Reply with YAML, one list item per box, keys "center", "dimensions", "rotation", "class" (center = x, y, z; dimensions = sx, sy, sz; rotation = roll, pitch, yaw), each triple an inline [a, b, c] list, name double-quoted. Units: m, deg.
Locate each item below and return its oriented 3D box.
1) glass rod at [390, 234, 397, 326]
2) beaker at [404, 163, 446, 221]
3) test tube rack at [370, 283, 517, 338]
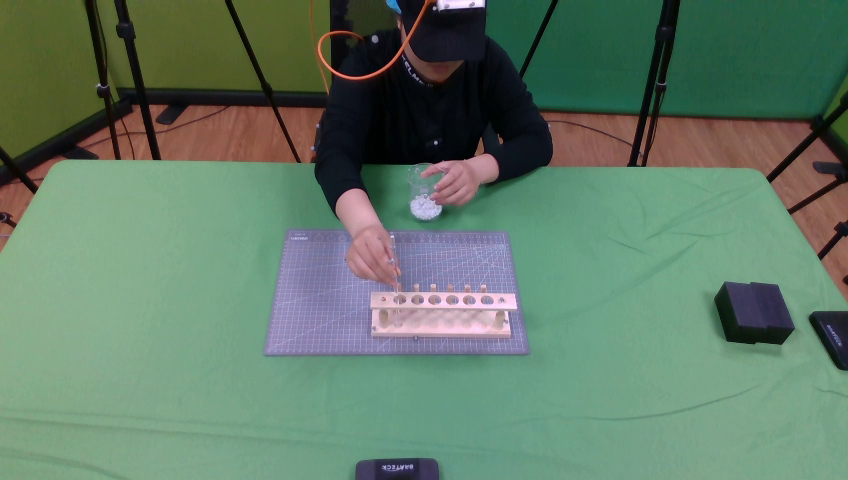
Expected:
- center: [-0.049, 0.069, 0.978]
  dimensions: [0.008, 0.201, 0.008]
  rotation: [0, 40, 0]
  class: "glass rod"
- center: [0.004, -0.095, 1.226]
  dimensions: [0.084, 0.101, 0.073]
  rotation: [-16, 49, -12]
  class: "beaker"
- center: [0.030, 0.117, 1.041]
  dimensions: [0.242, 0.085, 0.066]
  rotation: [1, 46, -3]
  class: "test tube rack"
